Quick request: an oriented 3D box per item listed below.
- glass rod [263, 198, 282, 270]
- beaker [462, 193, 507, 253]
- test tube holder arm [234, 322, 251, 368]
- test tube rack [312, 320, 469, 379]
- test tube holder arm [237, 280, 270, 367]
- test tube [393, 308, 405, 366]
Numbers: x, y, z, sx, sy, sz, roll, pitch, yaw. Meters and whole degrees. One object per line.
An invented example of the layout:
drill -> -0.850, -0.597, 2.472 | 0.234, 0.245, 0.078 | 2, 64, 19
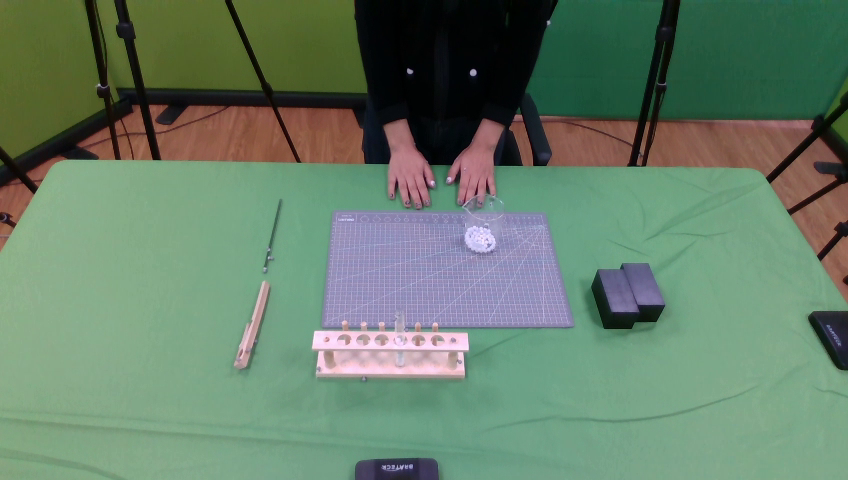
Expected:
glass rod -> -0.298, -0.017, 1.202 | 0.008, 0.008, 0.198 | 1, 46, -2
beaker -> 0.113, -0.030, 1.177 | 0.084, 0.101, 0.073 | 6, 46, 3
test tube holder arm -> -0.299, 0.173, 1.013 | 0.010, 0.015, 0.087 | -16, 42, 22
test tube rack -> -0.054, 0.173, 0.984 | 0.242, 0.085, 0.066 | 1, 46, -3
test tube holder arm -> -0.290, 0.140, 1.042 | 0.013, 0.015, 0.177 | -17, 41, 22
test tube -> -0.038, 0.153, 0.935 | 0.017, 0.151, 0.017 | 1, 49, -1
